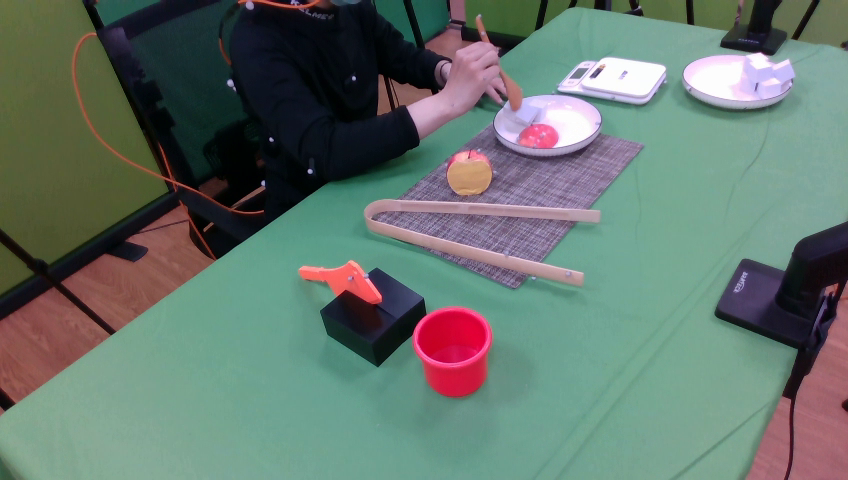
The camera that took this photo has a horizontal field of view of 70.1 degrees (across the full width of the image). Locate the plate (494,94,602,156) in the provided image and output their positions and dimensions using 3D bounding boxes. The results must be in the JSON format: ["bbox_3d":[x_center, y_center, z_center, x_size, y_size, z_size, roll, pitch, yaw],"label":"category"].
[{"bbox_3d":[0.240,-0.221,1.181,0.209,0.038,0.208,-4,41,4],"label":"plate"}]

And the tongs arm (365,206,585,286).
[{"bbox_3d":[0.067,0.004,0.951,0.382,0.026,0.051,13,45,23],"label":"tongs arm"}]

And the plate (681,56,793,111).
[{"bbox_3d":[0.636,-0.317,1.239,0.207,0.039,0.206,-4,40,4],"label":"plate"}]

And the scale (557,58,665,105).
[{"bbox_3d":[0.407,-0.348,1.314,0.199,0.032,0.149,19,47,28],"label":"scale"}]

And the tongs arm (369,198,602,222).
[{"bbox_3d":[0.097,-0.048,1.009,0.386,0.028,0.028,3,46,13],"label":"tongs arm"}]

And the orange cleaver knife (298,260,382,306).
[{"bbox_3d":[-0.125,0.063,0.876,0.012,0.077,0.210,-38,19,-30],"label":"orange cleaver knife"}]

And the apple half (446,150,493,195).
[{"bbox_3d":[0.080,-0.123,1.065,0.081,0.075,0.053,-7,36,6],"label":"apple half"}]

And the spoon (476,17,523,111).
[{"bbox_3d":[0.140,-0.328,1.135,0.021,0.195,0.041,3,45,52],"label":"spoon"}]

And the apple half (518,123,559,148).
[{"bbox_3d":[0.221,-0.207,1.160,0.081,0.033,0.081,-5,42,5],"label":"apple half"}]
